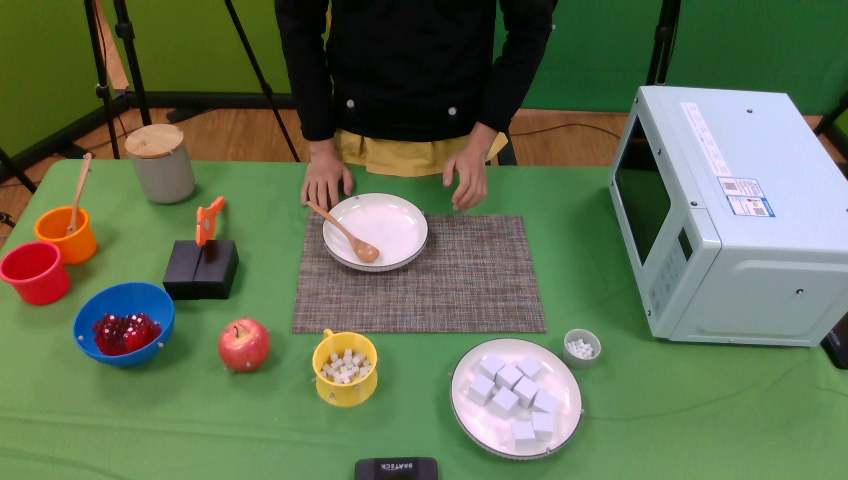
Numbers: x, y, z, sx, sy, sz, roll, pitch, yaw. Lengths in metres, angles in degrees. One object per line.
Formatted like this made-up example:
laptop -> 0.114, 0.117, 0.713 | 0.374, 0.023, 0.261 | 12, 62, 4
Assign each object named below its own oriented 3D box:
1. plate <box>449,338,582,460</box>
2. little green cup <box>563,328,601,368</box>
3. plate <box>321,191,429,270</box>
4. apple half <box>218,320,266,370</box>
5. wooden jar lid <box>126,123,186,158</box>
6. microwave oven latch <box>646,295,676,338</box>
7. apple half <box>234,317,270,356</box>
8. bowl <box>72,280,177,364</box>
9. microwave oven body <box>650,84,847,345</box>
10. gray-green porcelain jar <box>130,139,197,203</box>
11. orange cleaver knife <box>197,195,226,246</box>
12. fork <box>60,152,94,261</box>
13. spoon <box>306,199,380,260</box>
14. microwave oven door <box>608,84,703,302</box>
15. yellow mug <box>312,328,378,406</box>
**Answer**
plate -> 0.141, 0.251, 0.956 | 0.208, 0.039, 0.206 | 2, 46, -2
little green cup -> 0.265, 0.184, 1.025 | 0.061, 0.039, 0.061 | 1, 46, -1
plate -> -0.094, -0.015, 1.185 | 0.209, 0.038, 0.208 | 2, 46, -2
apple half -> -0.298, 0.176, 0.971 | 0.080, 0.075, 0.053 | 35, 57, 22
wooden jar lid -> -0.519, -0.190, 1.179 | 0.108, 0.021, 0.107 | 2, 44, -2
microwave oven latch -> 0.412, 0.133, 1.061 | 0.030, 0.029, 0.078 | 3, 46, 0
apple half -> -0.273, 0.154, 0.992 | 0.081, 0.082, 0.033 | 33, 56, 25
bowl -> -0.473, 0.147, 0.982 | 0.151, 0.077, 0.150 | 2, 46, -2
microwave oven body -> 0.569, -0.054, 1.116 | 0.326, 0.261, 0.439 | 2, 46, -1
gray-green porcelain jar -> -0.522, -0.148, 1.224 | 0.106, 0.127, 0.105 | 2, 47, -2
orange cleaver knife -> -0.405, -0.041, 1.157 | 0.012, 0.077, 0.210 | 2, 14, -7
fork -> -0.638, -0.063, 1.119 | 0.028, 0.018, 0.207 | 12, 90, 7
spoon -> -0.160, -0.023, 1.170 | 0.193, 0.022, 0.041 | 41, 61, 16
microwave oven door -> 0.424, -0.096, 1.138 | 0.039, 0.245, 0.353 | 2, 46, -1
yellow mug -> -0.132, 0.193, 0.971 | 0.100, 0.064, 0.130 | -22, 51, -22
